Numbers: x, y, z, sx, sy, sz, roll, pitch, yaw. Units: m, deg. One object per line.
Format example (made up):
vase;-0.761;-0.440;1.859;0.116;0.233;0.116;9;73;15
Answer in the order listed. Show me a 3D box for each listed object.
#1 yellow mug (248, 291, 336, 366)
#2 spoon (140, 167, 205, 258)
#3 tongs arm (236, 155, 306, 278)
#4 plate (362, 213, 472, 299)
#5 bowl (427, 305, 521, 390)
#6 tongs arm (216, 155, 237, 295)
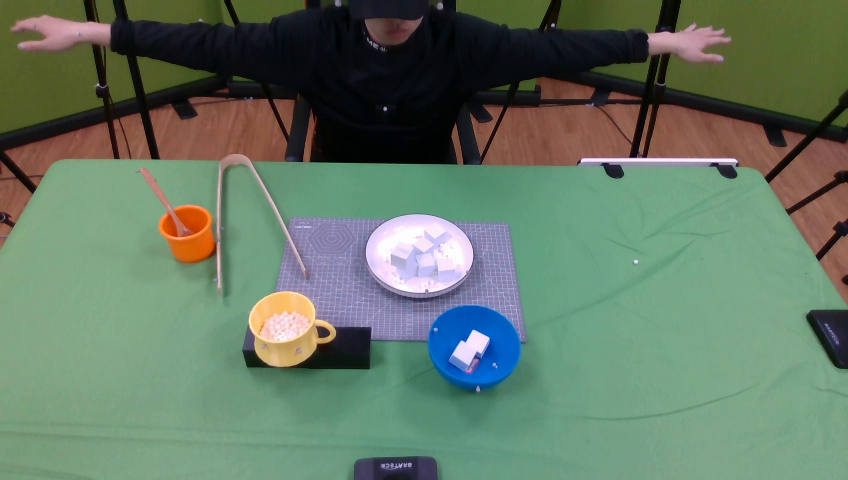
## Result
yellow mug;-0.203;0.139;0.948;0.131;0.064;0.099;5;46;0
spoon;-0.467;-0.051;1.122;0.041;0.194;0.021;-34;13;-28
tongs arm;-0.311;-0.059;1.224;0.028;0.028;0.385;-22;50;-18
plate;-0.014;0.034;1.150;0.208;0.039;0.206;3;46;-2
bowl;0.076;0.188;0.985;0.151;0.077;0.150;3;46;-3
tongs arm;-0.388;-0.043;1.201;0.051;0.026;0.382;-10;46;-12
